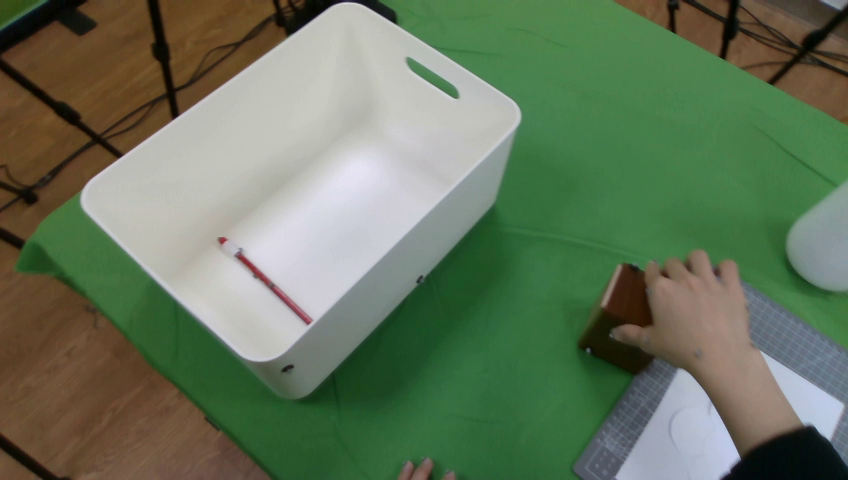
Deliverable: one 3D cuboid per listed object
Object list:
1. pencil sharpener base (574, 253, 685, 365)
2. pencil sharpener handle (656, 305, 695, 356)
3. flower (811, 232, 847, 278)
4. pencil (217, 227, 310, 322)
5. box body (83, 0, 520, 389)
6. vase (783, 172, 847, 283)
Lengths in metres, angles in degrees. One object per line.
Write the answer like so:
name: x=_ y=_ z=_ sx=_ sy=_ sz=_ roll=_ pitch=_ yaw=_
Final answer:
pencil sharpener base: x=0.208 y=0.074 z=0.615 sx=0.076 sy=0.108 sz=0.061 roll=26 pitch=63 yaw=11
pencil sharpener handle: x=0.253 y=0.091 z=0.594 sx=0.030 sy=0.068 sz=0.036 roll=26 pitch=57 yaw=12
flower: x=0.471 y=-0.087 z=0.565 sx=0.044 sy=0.364 sz=0.038 roll=30 pitch=47 yaw=18
pencil: x=-0.165 y=0.049 z=0.664 sx=0.193 sy=0.012 sz=0.012 roll=42 pitch=68 yaw=17
box body: x=-0.107 y=-0.054 z=0.643 sx=0.252 sy=0.161 sz=0.363 roll=37 pitch=67 yaw=17
vase: x=0.466 y=-0.034 z=0.631 sx=0.098 sy=0.201 sz=0.097 roll=1 pitch=60 yaw=-1
